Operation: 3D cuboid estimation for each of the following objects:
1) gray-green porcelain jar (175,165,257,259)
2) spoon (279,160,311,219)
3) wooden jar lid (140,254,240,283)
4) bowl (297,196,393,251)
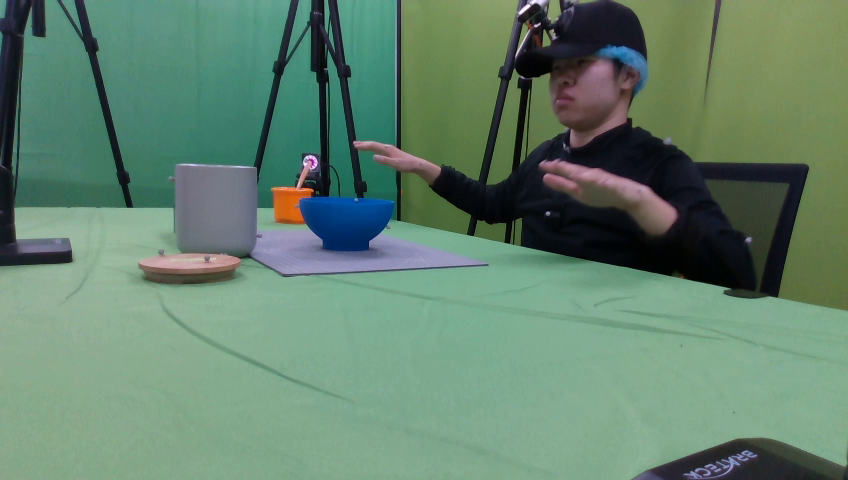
[{"bbox_3d":[-0.286,-0.039,0.837,0.106,0.126,0.106,2,7,0],"label":"gray-green porcelain jar"},{"bbox_3d":[-0.285,-0.117,1.371,0.041,0.193,0.022,3,-37,11],"label":"spoon"},{"bbox_3d":[-0.269,0.033,0.698,0.108,0.020,0.108,2,5,0],"label":"wooden jar lid"},{"bbox_3d":[-0.125,-0.026,0.958,0.151,0.077,0.151,2,7,0],"label":"bowl"}]
